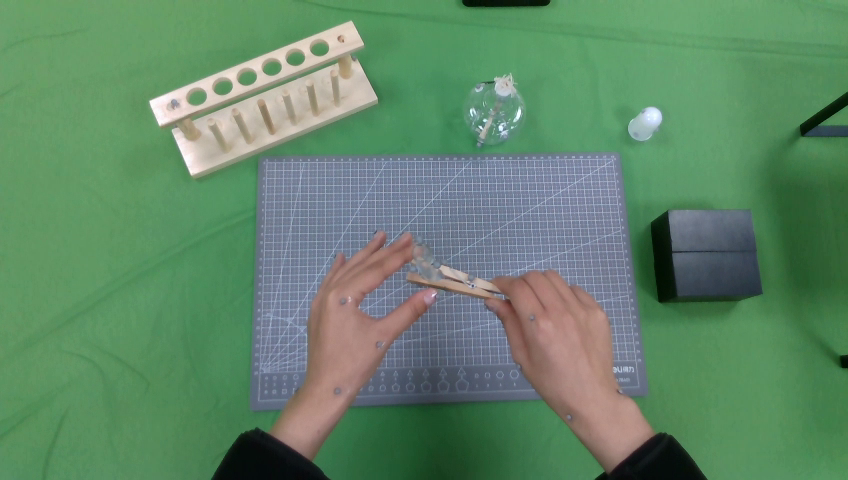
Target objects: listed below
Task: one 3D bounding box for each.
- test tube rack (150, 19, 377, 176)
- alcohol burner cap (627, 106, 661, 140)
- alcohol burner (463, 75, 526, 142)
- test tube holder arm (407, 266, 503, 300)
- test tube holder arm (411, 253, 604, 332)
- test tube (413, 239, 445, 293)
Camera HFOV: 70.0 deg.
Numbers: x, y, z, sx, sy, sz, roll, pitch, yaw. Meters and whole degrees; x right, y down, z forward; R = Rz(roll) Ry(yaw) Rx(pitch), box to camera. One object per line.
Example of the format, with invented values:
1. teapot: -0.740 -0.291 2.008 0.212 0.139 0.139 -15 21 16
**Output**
1. test tube rack: -0.179 -0.166 0.713 0.242 0.085 0.066 -25 78 -9
2. alcohol burner cap: 0.278 -0.149 0.761 0.034 0.048 0.033 1 75 -2
3. alcohol burner: 0.086 -0.164 0.716 0.078 0.119 0.077 1 77 -4
4. test tube holder arm: 0.028 0.039 0.541 0.087 0.015 0.010 13 80 6
5. test tube holder arm: 0.073 0.046 0.537 0.178 0.015 0.013 18 81 7
6. test tube: 0.006 0.027 0.537 0.017 0.151 0.017 -1 74 6
